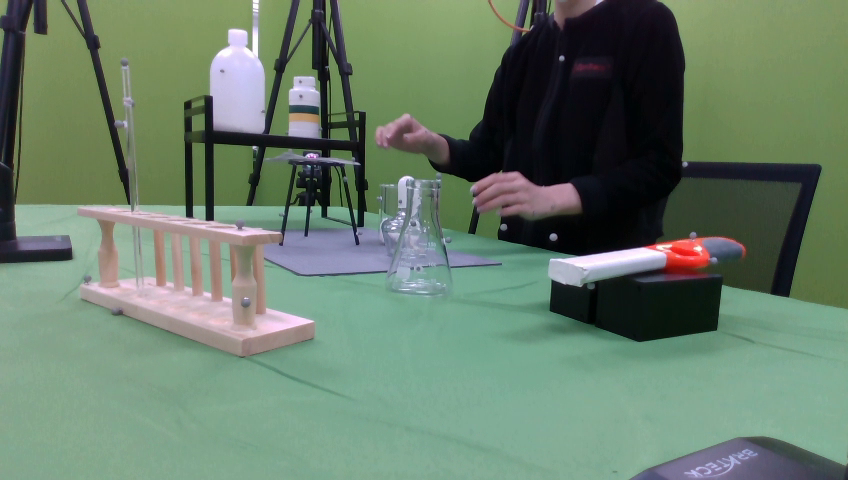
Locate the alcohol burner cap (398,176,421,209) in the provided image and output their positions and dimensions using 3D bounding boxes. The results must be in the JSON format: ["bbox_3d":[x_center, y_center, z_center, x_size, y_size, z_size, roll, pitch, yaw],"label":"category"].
[{"bbox_3d":[-0.023,-0.068,0.866,0.034,0.048,0.034,-5,8,1],"label":"alcohol burner cap"}]

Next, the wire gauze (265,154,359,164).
[{"bbox_3d":[-0.181,-0.129,0.969,0.126,0.011,0.121,-1,7,-27],"label":"wire gauze"}]

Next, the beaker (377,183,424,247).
[{"bbox_3d":[-0.037,-0.041,0.995,0.074,0.100,0.083,-5,11,-44],"label":"beaker"}]

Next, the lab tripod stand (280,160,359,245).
[{"bbox_3d":[-0.176,-0.062,0.973,0.148,0.131,0.148,1,7,0],"label":"lab tripod stand"}]

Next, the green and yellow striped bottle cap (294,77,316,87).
[{"bbox_3d":[-0.247,-0.326,1.251,0.045,0.020,0.045,0,10,0],"label":"green and yellow striped bottle cap"}]

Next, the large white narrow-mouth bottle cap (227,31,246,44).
[{"bbox_3d":[-0.361,-0.389,1.165,0.038,0.024,0.037,1,7,0],"label":"large white narrow-mouth bottle cap"}]

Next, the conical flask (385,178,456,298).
[{"bbox_3d":[-0.002,-0.004,0.639,0.075,0.122,0.075,2,7,0],"label":"conical flask"}]

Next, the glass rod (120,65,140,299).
[{"bbox_3d":[-0.249,-0.047,0.513,0.008,0.199,0.008,-1,4,0],"label":"glass rod"}]

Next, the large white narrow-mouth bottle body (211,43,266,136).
[{"bbox_3d":[-0.361,-0.302,1.176,0.102,0.194,0.102,1,7,0],"label":"large white narrow-mouth bottle body"}]

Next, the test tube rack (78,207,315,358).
[{"bbox_3d":[-0.196,0.023,0.500,0.241,0.085,0.067,8,9,37],"label":"test tube rack"}]

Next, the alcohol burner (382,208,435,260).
[{"bbox_3d":[-0.023,-0.032,0.871,0.078,0.119,0.078,0,6,0],"label":"alcohol burner"}]

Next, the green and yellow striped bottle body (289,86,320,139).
[{"bbox_3d":[-0.249,-0.272,1.259,0.063,0.119,0.063,2,8,0],"label":"green and yellow striped bottle body"}]

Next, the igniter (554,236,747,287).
[{"bbox_3d":[0.221,0.017,0.558,0.278,0.025,0.057,-5,15,-39],"label":"igniter"}]
